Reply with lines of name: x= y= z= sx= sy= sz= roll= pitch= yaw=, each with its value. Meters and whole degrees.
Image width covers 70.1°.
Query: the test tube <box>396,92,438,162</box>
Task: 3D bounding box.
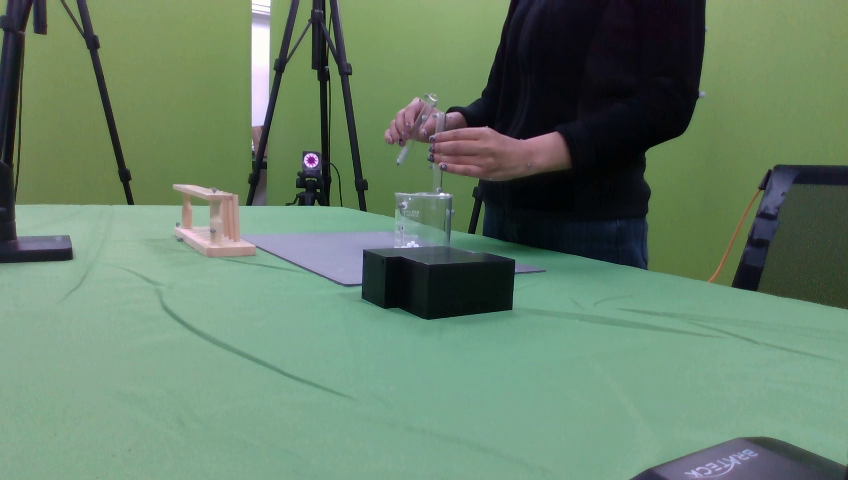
test tube: x=-0.014 y=-0.181 z=0.986 sx=0.017 sy=0.017 sz=0.150 roll=-2 pitch=-35 yaw=-31

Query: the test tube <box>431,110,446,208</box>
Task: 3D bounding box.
test tube: x=0.022 y=-0.122 z=0.915 sx=0.017 sy=0.150 sz=0.017 roll=3 pitch=-2 yaw=0

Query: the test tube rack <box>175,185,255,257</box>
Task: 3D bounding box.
test tube rack: x=-0.324 y=-0.035 z=0.922 sx=0.067 sy=0.085 sz=0.241 roll=-2 pitch=9 yaw=-31

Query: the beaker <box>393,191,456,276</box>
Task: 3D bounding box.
beaker: x=-0.003 y=-0.010 z=0.749 sx=0.074 sy=0.100 sz=0.083 roll=-3 pitch=9 yaw=-40
